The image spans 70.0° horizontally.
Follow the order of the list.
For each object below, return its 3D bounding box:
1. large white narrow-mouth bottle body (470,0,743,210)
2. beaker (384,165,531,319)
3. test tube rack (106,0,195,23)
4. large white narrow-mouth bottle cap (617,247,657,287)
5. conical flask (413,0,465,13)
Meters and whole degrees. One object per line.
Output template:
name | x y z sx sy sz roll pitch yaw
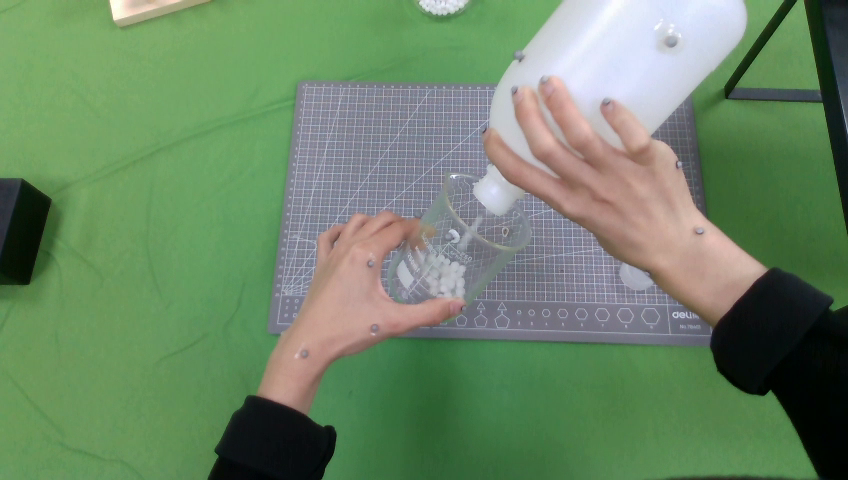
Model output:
large white narrow-mouth bottle body | 0.103 -0.100 0.404 0.101 0.102 0.195 47 109 17
beaker | 0.019 0.004 0.457 0.074 0.100 0.083 -19 63 -48
test tube rack | -0.277 -0.347 0.725 0.242 0.086 0.066 -19 71 -5
large white narrow-mouth bottle cap | 0.214 0.028 0.609 0.038 0.024 0.037 -1 71 3
conical flask | 0.016 -0.327 0.690 0.075 0.122 0.075 -1 70 2
